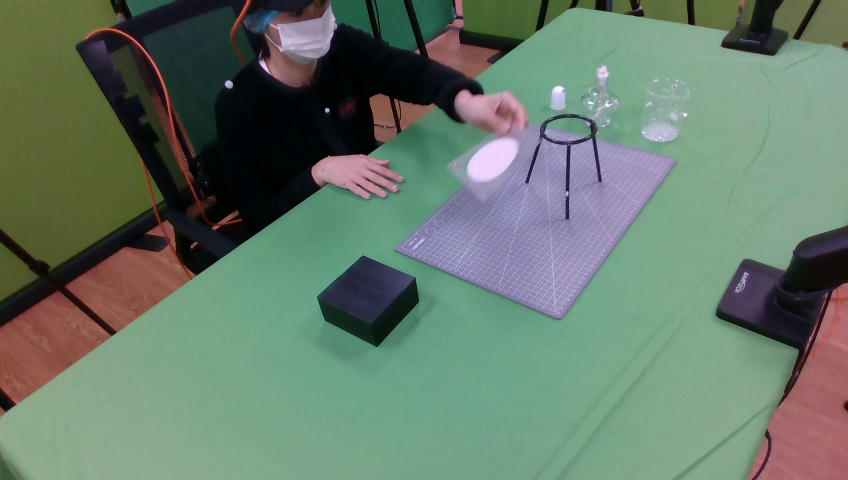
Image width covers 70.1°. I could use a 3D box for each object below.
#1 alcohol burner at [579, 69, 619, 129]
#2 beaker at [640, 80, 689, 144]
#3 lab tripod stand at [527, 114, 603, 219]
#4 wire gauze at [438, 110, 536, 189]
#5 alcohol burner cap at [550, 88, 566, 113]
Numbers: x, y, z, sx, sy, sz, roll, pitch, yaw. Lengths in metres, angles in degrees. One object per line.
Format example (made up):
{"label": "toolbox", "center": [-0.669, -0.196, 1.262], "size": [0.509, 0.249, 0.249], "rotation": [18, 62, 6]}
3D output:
{"label": "alcohol burner", "center": [0.345, -0.280, 1.184], "size": [0.078, 0.119, 0.077], "rotation": [-4, 42, 4]}
{"label": "beaker", "center": [0.446, -0.235, 1.126], "size": [0.074, 0.101, 0.083], "rotation": [-34, 47, -27]}
{"label": "lab tripod stand", "center": [0.234, -0.129, 1.002], "size": [0.148, 0.132, 0.147], "rotation": [-6, 40, 6]}
{"label": "wire gauze", "center": [0.088, -0.133, 0.885], "size": [0.120, 0.011, 0.125], "rotation": [20, 75, 45]}
{"label": "alcohol burner cap", "center": [0.282, -0.296, 1.270], "size": [0.034, 0.048, 0.033], "rotation": [-4, 41, 4]}
